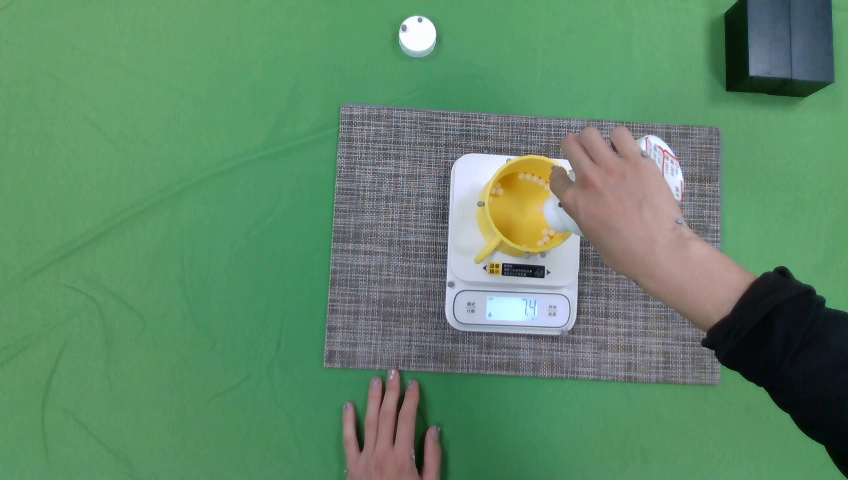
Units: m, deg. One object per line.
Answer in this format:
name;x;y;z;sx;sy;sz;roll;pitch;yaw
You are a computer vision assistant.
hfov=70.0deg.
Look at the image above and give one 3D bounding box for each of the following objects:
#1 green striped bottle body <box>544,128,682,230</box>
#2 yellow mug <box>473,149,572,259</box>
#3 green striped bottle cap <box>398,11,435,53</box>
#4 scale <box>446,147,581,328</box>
green striped bottle body;0.167;-0.049;0.556;0.064;0.119;0.062;17;62;-34
yellow mug;0.098;-0.028;0.637;0.100;0.064;0.131;43;85;2
green striped bottle cap;-0.009;-0.245;0.712;0.044;0.020;0.044;0;87;-2
scale;0.102;-0.003;0.682;0.149;0.031;0.200;2;85;-2
